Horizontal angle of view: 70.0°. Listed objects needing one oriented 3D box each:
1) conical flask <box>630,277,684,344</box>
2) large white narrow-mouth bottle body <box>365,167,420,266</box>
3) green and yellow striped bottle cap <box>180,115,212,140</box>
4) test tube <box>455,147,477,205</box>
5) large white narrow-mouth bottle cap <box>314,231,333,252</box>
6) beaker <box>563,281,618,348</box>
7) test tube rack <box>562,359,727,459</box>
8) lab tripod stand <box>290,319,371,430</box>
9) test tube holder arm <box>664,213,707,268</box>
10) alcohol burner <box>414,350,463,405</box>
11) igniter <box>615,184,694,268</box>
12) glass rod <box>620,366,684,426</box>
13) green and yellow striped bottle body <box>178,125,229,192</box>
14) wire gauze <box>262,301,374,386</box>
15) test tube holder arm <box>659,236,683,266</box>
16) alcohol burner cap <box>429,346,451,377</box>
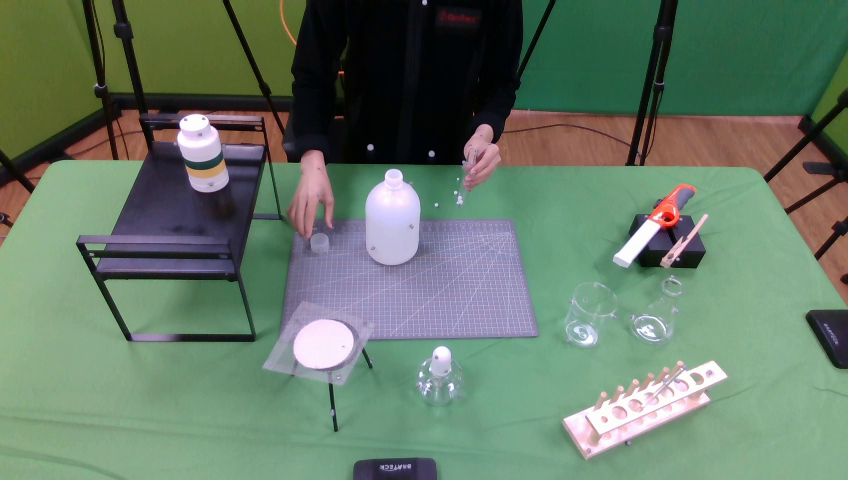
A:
[{"bbox_3d":[0.408,0.117,1.045,0.075,0.122,0.075,2,46,-2],"label":"conical flask"},{"bbox_3d":[-0.058,-0.049,1.118,0.102,0.195,0.101,2,45,-2],"label":"large white narrow-mouth bottle body"},{"bbox_3d":[-0.358,-0.177,0.951,0.045,0.020,0.045,2,45,-2],"label":"green and yellow striped bottle cap"},{"bbox_3d":[0.076,-0.114,1.115,0.017,0.151,0.017,4,54,-6],"label":"test tube"},{"bbox_3d":[-0.195,0.003,1.178,0.038,0.024,0.037,2,45,-2],"label":"large white narrow-mouth bottle cap"},{"bbox_3d":[0.283,0.129,1.041,0.074,0.101,0.083,11,46,7],"label":"beaker"},{"bbox_3d":[0.341,0.247,0.940,0.243,0.085,0.066,-16,49,-18],"label":"test tube rack"},{"bbox_3d":[-0.146,0.193,0.923,0.148,0.132,0.147,1,47,-1],"label":"lab tripod stand"},{"bbox_3d":[0.507,-0.001,1.171,0.013,0.015,0.178,33,53,26],"label":"test tube holder arm"},{"bbox_3d":[0.023,0.205,0.939,0.078,0.120,0.077,1,48,-1],"label":"alcohol burner"},{"bbox_3d":[0.459,-0.035,1.197,0.057,0.025,0.276,32,55,27],"label":"igniter"},{"bbox_3d":[0.323,0.227,0.866,0.008,0.200,0.008,5,51,-7],"label":"glass rod"},{"bbox_3d":[-0.361,-0.142,0.989,0.063,0.120,0.063,2,46,-2],"label":"green and yellow striped bottle body"},{"bbox_3d":[-0.150,0.148,0.873,0.121,0.011,0.124,14,46,12],"label":"wire gauze"},{"bbox_3d":[0.472,0.020,1.149,0.010,0.015,0.088,35,54,27],"label":"test tube holder arm"},{"bbox_3d":[0.026,0.180,0.912,0.034,0.048,0.033,1,47,-1],"label":"alcohol burner cap"}]
